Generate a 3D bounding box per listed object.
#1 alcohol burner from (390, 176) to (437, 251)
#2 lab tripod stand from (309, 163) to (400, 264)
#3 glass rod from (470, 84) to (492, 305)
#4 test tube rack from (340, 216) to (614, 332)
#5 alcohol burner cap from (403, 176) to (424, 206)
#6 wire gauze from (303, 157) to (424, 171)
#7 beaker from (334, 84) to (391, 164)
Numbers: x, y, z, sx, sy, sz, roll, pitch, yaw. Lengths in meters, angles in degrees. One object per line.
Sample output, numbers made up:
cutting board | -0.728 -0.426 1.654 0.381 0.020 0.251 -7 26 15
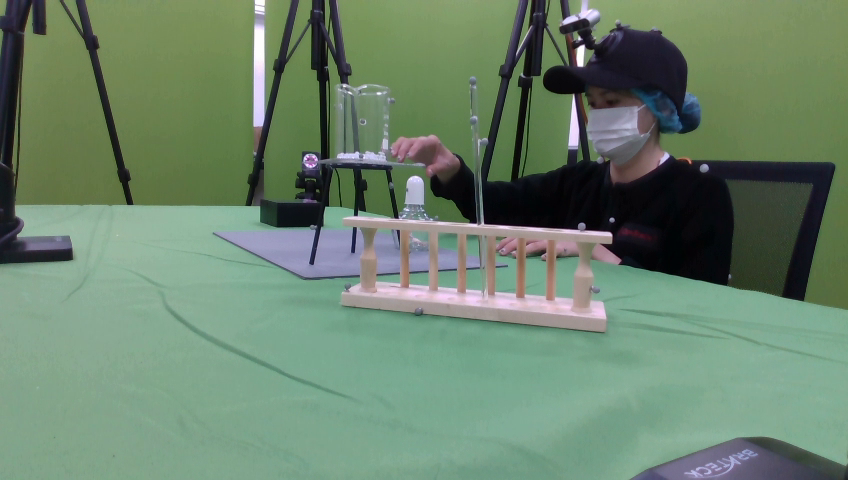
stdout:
alcohol burner | -0.016 -0.042 0.955 0.078 0.119 0.078 4 6 0
lab tripod stand | -0.091 -0.037 0.813 0.148 0.131 0.148 1 6 0
glass rod | 0.051 -0.036 0.535 0.008 0.199 0.008 -5 10 1
test tube rack | 0.048 0.026 0.568 0.242 0.085 0.067 4 8 13
alcohol burner cap | -0.015 -0.077 0.951 0.034 0.048 0.034 3 5 0
wire gauze | -0.082 -0.101 0.799 0.126 0.011 0.121 1 7 -30
beaker | -0.082 -0.149 0.791 0.074 0.100 0.084 2 5 4
